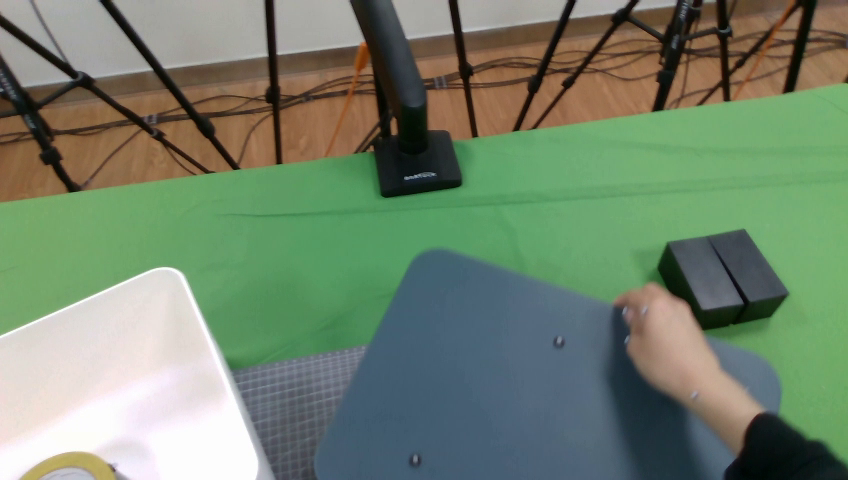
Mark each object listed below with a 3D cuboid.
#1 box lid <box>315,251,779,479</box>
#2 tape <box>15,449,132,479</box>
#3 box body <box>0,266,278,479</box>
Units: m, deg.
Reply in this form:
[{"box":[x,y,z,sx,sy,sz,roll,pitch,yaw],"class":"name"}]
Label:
[{"box":[0.116,0.163,0.543,0.370,0.015,0.262,18,59,13],"class":"box lid"},{"box":[-0.337,0.262,0.574,0.117,0.053,0.115,-1,52,1],"class":"tape"},{"box":[-0.334,0.224,0.540,0.364,0.162,0.251,-26,55,-17],"class":"box body"}]
